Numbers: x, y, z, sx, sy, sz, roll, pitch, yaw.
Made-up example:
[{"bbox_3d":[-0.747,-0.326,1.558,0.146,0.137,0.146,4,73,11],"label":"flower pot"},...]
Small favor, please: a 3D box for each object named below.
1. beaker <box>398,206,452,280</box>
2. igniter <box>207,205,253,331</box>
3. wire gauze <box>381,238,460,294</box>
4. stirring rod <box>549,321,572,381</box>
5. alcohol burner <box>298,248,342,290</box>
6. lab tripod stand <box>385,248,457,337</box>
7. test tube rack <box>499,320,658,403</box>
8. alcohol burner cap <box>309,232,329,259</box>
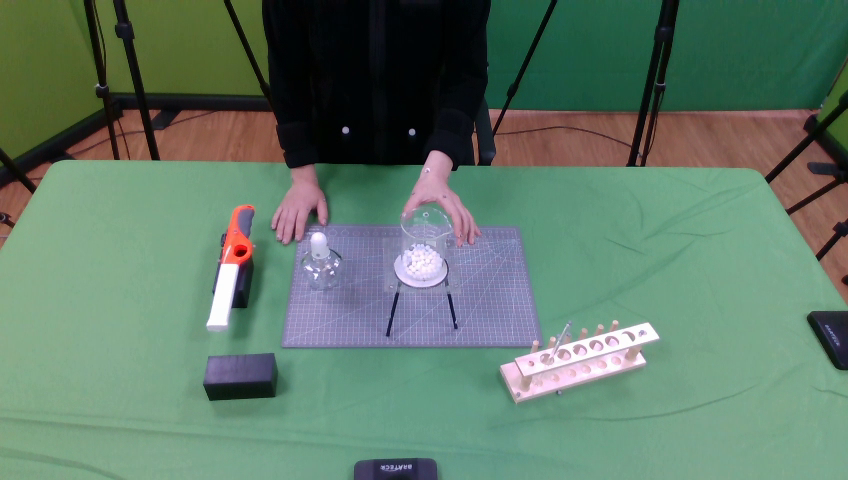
[{"bbox_3d":[0.000,0.008,0.950,0.084,0.101,0.073,10,45,6],"label":"beaker"},{"bbox_3d":[-0.339,0.038,1.066,0.057,0.025,0.274,2,48,-6],"label":"igniter"},{"bbox_3d":[-0.008,0.042,0.985,0.125,0.011,0.120,-1,43,-2],"label":"wire gauze"},{"bbox_3d":[0.202,0.167,0.901,0.006,0.177,0.014,-17,55,-11],"label":"stirring rod"},{"bbox_3d":[-0.187,0.033,1.084,0.078,0.120,0.077,1,46,-1],"label":"alcohol burner"},{"bbox_3d":[-0.010,0.087,1.032,0.148,0.132,0.147,1,45,-1],"label":"lab tripod stand"},{"bbox_3d":[0.252,0.187,0.994,0.243,0.085,0.066,-12,48,-15],"label":"test tube rack"},{"bbox_3d":[-0.186,0.008,1.058,0.034,0.048,0.033,0,43,0],"label":"alcohol burner cap"}]
